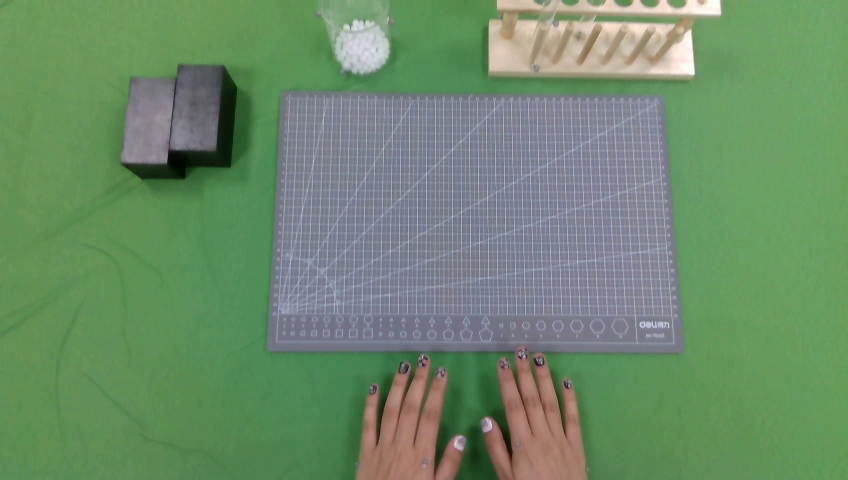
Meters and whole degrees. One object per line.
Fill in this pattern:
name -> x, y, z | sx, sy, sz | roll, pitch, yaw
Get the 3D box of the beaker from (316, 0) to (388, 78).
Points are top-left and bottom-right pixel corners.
beaker -> -0.077, -0.238, 0.683 | 0.074, 0.100, 0.083 | -4, 76, -2

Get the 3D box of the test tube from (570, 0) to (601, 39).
test tube -> 0.184, -0.263, 0.650 | 0.017, 0.151, 0.017 | 1, 74, -3

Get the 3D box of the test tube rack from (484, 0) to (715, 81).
test tube rack -> 0.194, -0.234, 0.694 | 0.242, 0.085, 0.066 | 1, 77, -1

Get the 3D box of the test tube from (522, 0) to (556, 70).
test tube -> 0.124, -0.227, 0.646 | 0.017, 0.151, 0.017 | 0, 75, 0
